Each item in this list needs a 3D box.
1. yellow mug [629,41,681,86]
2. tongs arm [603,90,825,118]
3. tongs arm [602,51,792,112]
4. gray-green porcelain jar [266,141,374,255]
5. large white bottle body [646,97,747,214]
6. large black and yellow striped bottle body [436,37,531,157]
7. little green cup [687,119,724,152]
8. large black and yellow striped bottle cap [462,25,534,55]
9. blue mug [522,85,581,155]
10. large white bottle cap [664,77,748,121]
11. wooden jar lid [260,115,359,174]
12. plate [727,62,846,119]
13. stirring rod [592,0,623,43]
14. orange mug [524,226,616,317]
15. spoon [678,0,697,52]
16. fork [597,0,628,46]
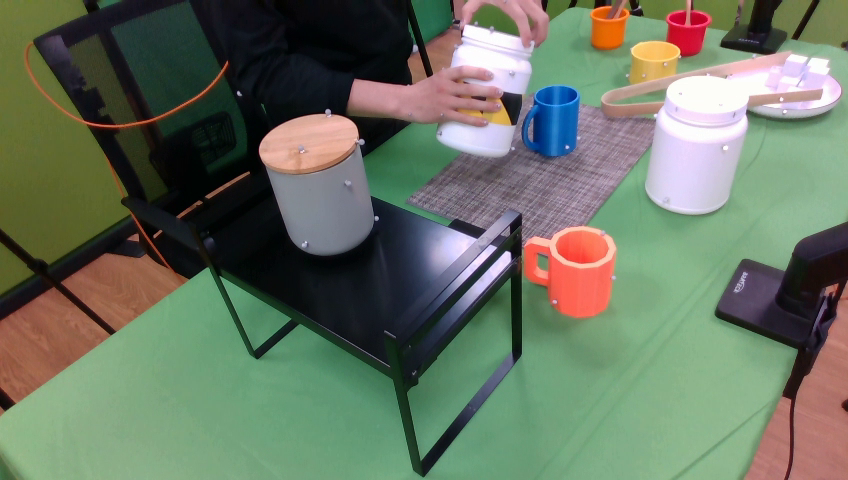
[{"bbox_3d":[0.495,-0.389,1.321,0.100,0.064,0.130,-14,40,-7],"label":"yellow mug"},{"bbox_3d":[0.546,-0.262,1.162,0.386,0.028,0.028,-1,49,18],"label":"tongs arm"},{"bbox_3d":[0.552,-0.320,1.223,0.384,0.027,0.050,-10,44,7],"label":"tongs arm"},{"bbox_3d":[-0.117,-0.054,0.703,0.106,0.127,0.105,-4,40,4],"label":"gray-green porcelain jar"},{"bbox_3d":[0.431,-0.148,0.959,0.130,0.185,0.130,-4,41,4],"label":"large white bottle body"},{"bbox_3d":[0.099,-0.241,0.989,0.131,0.184,0.130,12,21,-4],"label":"large black and yellow striped bottle body"},{"bbox_3d":[0.514,-0.191,1.109,0.061,0.039,0.061,-5,40,5],"label":"little green cup"},{"bbox_3d":[0.118,-0.318,0.960,0.115,0.019,0.114,14,21,-5],"label":"large black and yellow striped bottle cap"},{"bbox_3d":[0.233,-0.218,1.127,0.117,0.106,0.081,-23,43,-16],"label":"blue mug"},{"bbox_3d":[0.421,-0.212,0.905,0.115,0.018,0.114,-4,40,4],"label":"large white bottle cap"},{"bbox_3d":[-0.124,-0.101,0.662,0.108,0.021,0.108,-4,41,4],"label":"wooden jar lid"},{"bbox_3d":[0.709,-0.292,1.197,0.207,0.039,0.206,-4,40,4],"label":"plate"},{"bbox_3d":[0.460,-0.557,1.461,0.014,0.176,0.006,35,11,22],"label":"stirring rod"},{"bbox_3d":[0.201,0.039,0.845,0.125,0.101,0.083,18,47,21],"label":"orange mug"},{"bbox_3d":[0.614,-0.526,1.402,0.041,0.022,0.193,3,86,11],"label":"spoon"},{"bbox_3d":[0.479,-0.558,1.455,0.028,0.019,0.207,35,100,38],"label":"fork"}]
